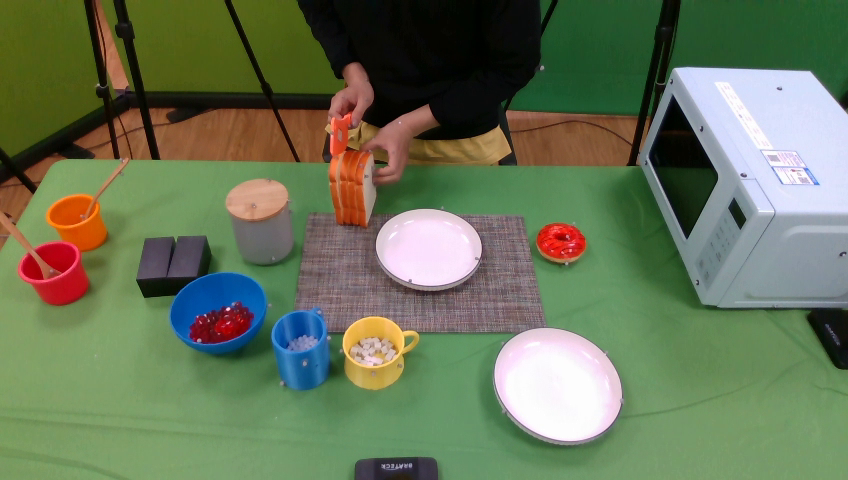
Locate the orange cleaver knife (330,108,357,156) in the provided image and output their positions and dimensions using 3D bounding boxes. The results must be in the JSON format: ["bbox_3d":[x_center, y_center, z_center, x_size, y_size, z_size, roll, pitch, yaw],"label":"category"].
[{"bbox_3d":[-0.156,-0.214,1.181,0.012,0.077,0.210,4,21,4],"label":"orange cleaver knife"}]

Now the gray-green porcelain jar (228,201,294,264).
[{"bbox_3d":[-0.299,-0.027,1.126,0.106,0.127,0.105,2,46,-2],"label":"gray-green porcelain jar"}]

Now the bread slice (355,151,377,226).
[{"bbox_3d":[-0.116,-0.109,1.212,0.018,0.135,0.106,7,47,7],"label":"bread slice"}]

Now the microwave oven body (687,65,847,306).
[{"bbox_3d":[0.669,-0.111,1.176,0.326,0.261,0.439,0,46,-3],"label":"microwave oven body"}]

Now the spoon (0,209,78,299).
[{"bbox_3d":[-0.668,0.021,1.040,0.041,0.021,0.194,-41,105,-30],"label":"spoon"}]

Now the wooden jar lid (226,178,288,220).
[{"bbox_3d":[-0.296,-0.070,1.081,0.108,0.021,0.107,1,45,0],"label":"wooden jar lid"}]

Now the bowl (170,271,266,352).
[{"bbox_3d":[-0.333,0.132,1.006,0.151,0.077,0.150,2,46,-2],"label":"bowl"}]

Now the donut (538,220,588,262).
[{"bbox_3d":[0.273,0.000,1.198,0.099,0.048,0.098,1,47,0],"label":"donut"}]

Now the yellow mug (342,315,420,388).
[{"bbox_3d":[-0.068,0.177,0.991,0.131,0.064,0.099,-15,50,-19],"label":"yellow mug"}]

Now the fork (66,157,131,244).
[{"bbox_3d":[-0.608,-0.074,1.132,0.207,0.019,0.028,-52,48,10],"label":"fork"}]

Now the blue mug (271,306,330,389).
[{"bbox_3d":[-0.188,0.163,0.969,0.082,0.106,0.116,15,47,10],"label":"blue mug"}]

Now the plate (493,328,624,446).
[{"bbox_3d":[0.213,0.236,0.974,0.208,0.039,0.206,2,46,-2],"label":"plate"}]

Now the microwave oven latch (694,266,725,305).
[{"bbox_3d":[0.523,0.082,1.115,0.030,0.029,0.078,3,46,0],"label":"microwave oven latch"}]

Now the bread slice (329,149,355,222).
[{"bbox_3d":[-0.166,-0.118,1.219,0.019,0.132,0.104,3,41,9],"label":"bread slice"}]

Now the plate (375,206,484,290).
[{"bbox_3d":[0.009,0.018,1.160,0.209,0.038,0.208,2,47,-2],"label":"plate"}]

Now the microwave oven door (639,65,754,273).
[{"bbox_3d":[0.522,-0.147,1.193,0.039,0.245,0.353,0,47,-3],"label":"microwave oven door"}]
